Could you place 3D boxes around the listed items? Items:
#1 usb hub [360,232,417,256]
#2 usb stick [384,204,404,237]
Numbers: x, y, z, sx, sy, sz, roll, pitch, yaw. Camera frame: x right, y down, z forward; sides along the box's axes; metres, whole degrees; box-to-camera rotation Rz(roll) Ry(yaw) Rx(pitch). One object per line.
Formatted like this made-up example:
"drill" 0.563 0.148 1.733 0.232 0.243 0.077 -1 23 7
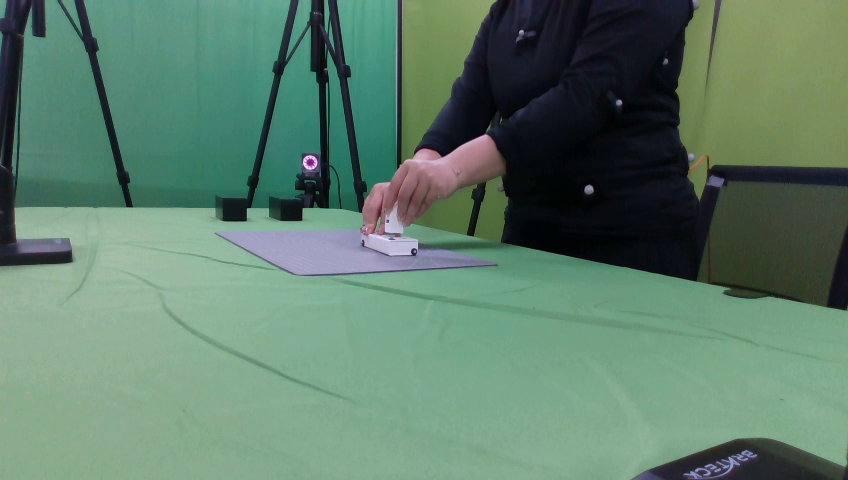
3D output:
"usb hub" -0.059 0.005 0.950 0.050 0.025 0.124 -2 7 -26
"usb stick" -0.046 -0.026 0.934 0.027 0.059 0.021 -4 6 -30
